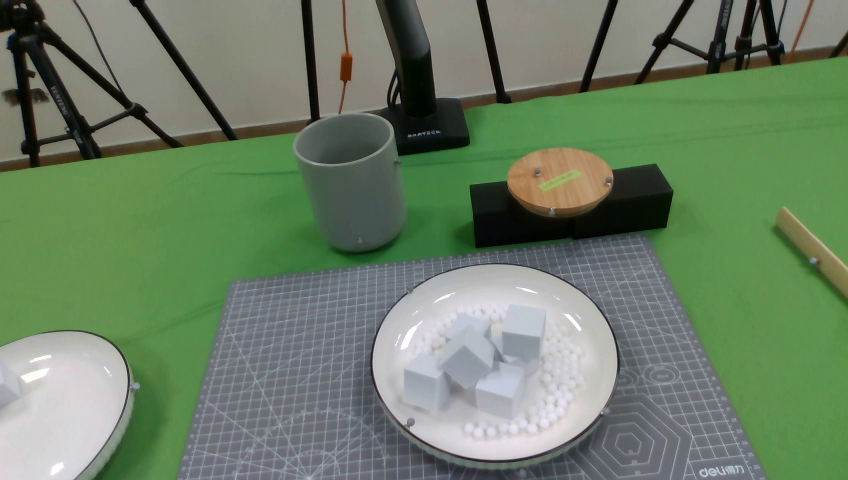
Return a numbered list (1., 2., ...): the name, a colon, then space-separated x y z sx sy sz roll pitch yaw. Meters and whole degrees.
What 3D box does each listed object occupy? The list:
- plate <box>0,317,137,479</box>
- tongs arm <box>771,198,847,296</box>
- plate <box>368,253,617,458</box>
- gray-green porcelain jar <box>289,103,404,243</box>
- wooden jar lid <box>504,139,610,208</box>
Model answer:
1. plate: -0.350 0.157 0.522 0.207 0.039 0.205 -4 42 4
2. tongs arm: 0.410 0.086 0.491 0.028 0.028 0.383 -12 42 -6
3. plate: 0.057 0.095 0.523 0.209 0.038 0.207 -5 42 5
4. gray-green porcelain jar: -0.079 -0.068 0.662 0.106 0.128 0.105 -5 42 5
5. wooden jar lid: 0.138 -0.069 0.634 0.108 0.021 0.107 -4 43 4
